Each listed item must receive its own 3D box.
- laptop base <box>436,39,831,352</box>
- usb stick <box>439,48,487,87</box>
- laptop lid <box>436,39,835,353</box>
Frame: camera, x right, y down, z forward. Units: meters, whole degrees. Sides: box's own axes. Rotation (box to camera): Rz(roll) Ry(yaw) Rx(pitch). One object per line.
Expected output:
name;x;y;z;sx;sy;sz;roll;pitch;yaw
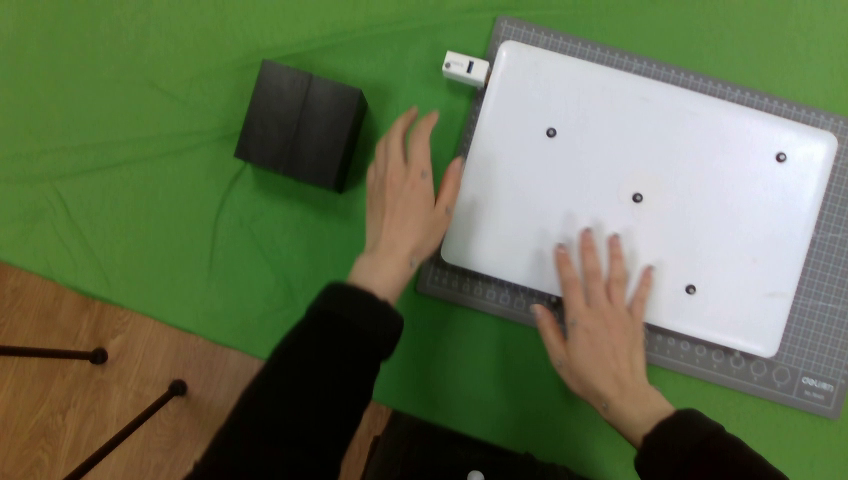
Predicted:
laptop base;0.211;-0.046;0.620;0.354;0.023;0.235;16;92;1
usb stick;0.046;-0.173;0.614;0.059;0.027;0.021;19;83;3
laptop lid;0.210;-0.044;0.609;0.356;0.013;0.241;18;91;1
